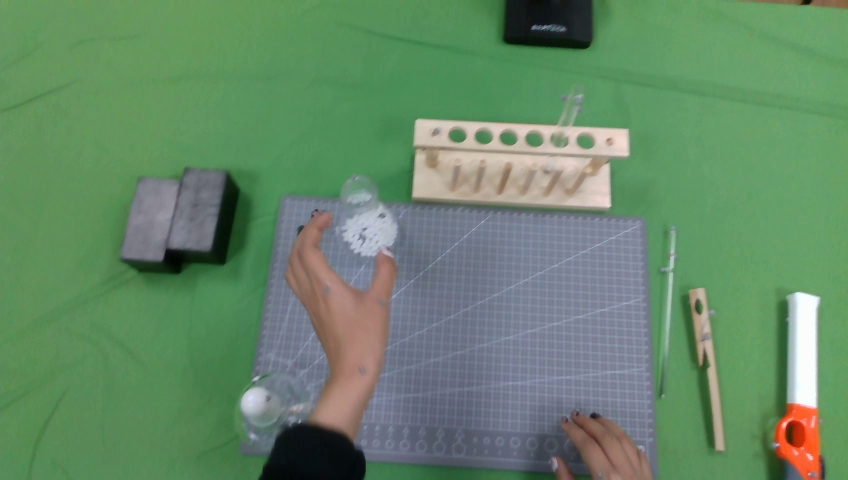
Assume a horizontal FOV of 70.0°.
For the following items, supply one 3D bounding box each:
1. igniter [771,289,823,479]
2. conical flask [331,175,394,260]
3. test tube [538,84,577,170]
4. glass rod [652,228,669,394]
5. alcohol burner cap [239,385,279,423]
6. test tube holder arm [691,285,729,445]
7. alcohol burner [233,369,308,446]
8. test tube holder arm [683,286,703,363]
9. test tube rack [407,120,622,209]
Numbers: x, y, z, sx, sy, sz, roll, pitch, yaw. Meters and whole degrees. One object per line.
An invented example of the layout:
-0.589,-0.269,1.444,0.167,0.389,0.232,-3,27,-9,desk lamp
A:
0.409,0.188,0.664,0.057,0.025,0.275,14,72,-6,igniter
-0.073,-0.030,0.677,0.075,0.122,0.075,0,71,0,conical flask
0.147,-0.122,0.681,0.017,0.151,0.017,0,66,0,test tube
0.277,0.079,0.708,0.008,0.008,0.198,10,74,2,glass rod
-0.160,0.155,0.581,0.034,0.048,0.033,0,63,-1,alcohol burner cap
0.320,0.138,0.682,0.013,0.015,0.177,-17,68,33,test tube holder arm
-0.160,0.168,0.614,0.078,0.120,0.077,0,70,1,alcohol burner
0.313,0.097,0.699,0.010,0.015,0.087,-15,68,33,test tube holder arm
0.102,-0.088,0.722,0.242,0.085,0.066,3,71,0,test tube rack
